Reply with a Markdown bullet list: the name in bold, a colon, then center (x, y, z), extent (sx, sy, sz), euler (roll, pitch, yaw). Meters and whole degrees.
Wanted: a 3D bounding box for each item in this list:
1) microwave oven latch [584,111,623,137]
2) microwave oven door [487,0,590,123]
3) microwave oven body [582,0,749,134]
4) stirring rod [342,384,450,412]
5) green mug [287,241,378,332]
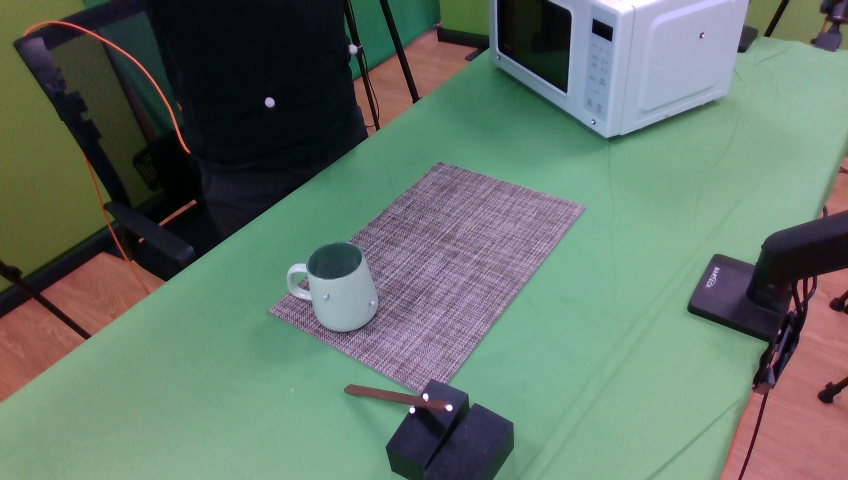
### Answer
- **microwave oven latch**: center (0.337, -0.222, 1.142), extent (0.030, 0.029, 0.078), euler (-21, 42, -14)
- **microwave oven door**: center (0.232, -0.420, 1.231), extent (0.039, 0.245, 0.352), euler (-22, 43, -16)
- **microwave oven body**: center (0.382, -0.444, 1.246), extent (0.327, 0.261, 0.437), euler (-22, 42, -16)
- **stirring rod**: center (-0.038, 0.186, 0.714), extent (0.175, 0.006, 0.014), euler (-3, 22, 43)
- **green mug**: center (-0.131, 0.065, 0.843), extent (0.125, 0.105, 0.092), euler (3, 42, 12)
